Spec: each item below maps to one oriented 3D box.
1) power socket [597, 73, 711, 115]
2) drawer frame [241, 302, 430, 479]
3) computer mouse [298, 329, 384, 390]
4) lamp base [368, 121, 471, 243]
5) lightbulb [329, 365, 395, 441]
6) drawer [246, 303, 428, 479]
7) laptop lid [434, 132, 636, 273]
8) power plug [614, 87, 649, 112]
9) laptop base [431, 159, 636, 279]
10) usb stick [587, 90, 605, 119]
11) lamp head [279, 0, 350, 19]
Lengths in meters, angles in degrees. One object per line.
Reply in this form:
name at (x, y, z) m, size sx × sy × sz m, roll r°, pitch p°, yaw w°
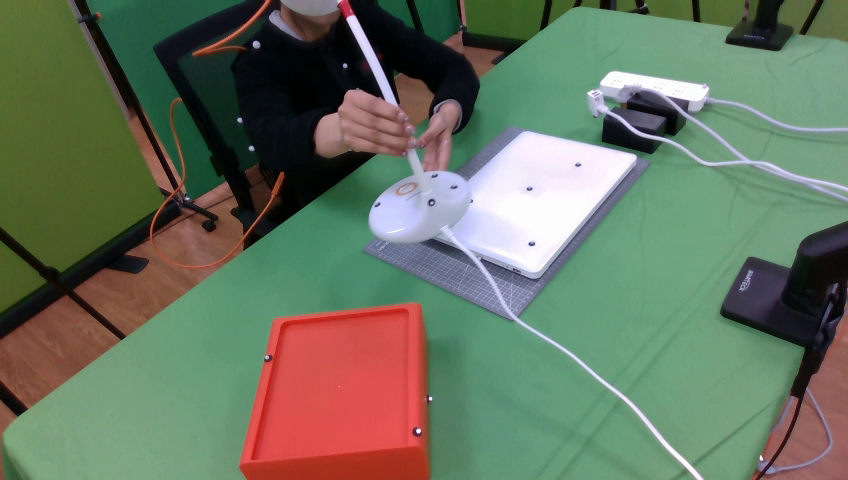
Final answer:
power socket at (0.469, -0.304, 1.249) m, size 0.225 × 0.033 × 0.072 m, roll 20°, pitch 49°, yaw 30°
drawer frame at (-0.095, 0.184, 0.739) m, size 0.202 × 0.083 × 0.212 m, roll -7°, pitch 40°, yaw 3°
computer mouse at (-0.111, 0.156, 0.798) m, size 0.117 × 0.041 × 0.062 m, roll -15°, pitch 41°, yaw 1°
lamp base at (-0.024, -0.104, 0.842) m, size 0.161 × 0.181 × 0.177 m, roll -35°, pitch 41°, yaw -15°
lightbulb at (-0.080, 0.195, 0.738) m, size 0.060 × 0.060 × 0.107 m, roll -32°, pitch 61°, yaw -25°
drawer at (-0.097, 0.184, 0.743) m, size 0.194 × 0.073 × 0.210 m, roll -6°, pitch 41°, yaw 3°
laptop lid at (0.181, -0.084, 1.036) m, size 0.239 × 0.013 × 0.358 m, roll 22°, pitch 49°, yaw 35°
power plug at (0.406, -0.275, 1.192) m, size 0.035 × 0.053 × 0.072 m, roll -16°, pitch 24°, yaw -16°
laptop base at (0.185, -0.074, 1.042) m, size 0.233 × 0.023 × 0.355 m, roll 19°, pitch 48°, yaw 35°
usb stick at (0.334, -0.258, 1.170) m, size 0.021 × 0.059 × 0.027 m, roll -29°, pitch 44°, yaw -6°
lamp head at (-0.139, -0.351, 0.753) m, size 0.113 × 0.112 × 0.122 m, roll -18°, pitch -1°, yaw -10°
